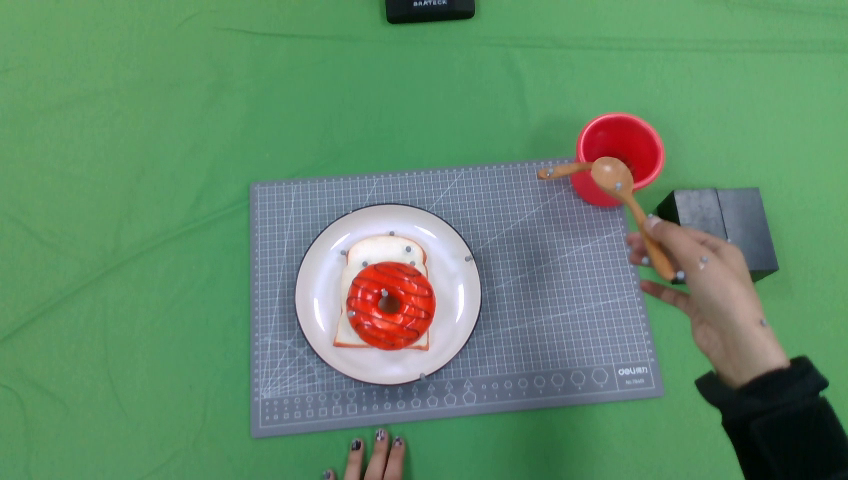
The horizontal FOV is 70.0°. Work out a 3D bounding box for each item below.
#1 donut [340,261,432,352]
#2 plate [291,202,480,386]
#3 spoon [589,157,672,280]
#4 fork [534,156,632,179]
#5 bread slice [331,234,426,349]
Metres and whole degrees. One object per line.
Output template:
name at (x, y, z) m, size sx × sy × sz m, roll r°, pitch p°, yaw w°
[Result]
donut at (-0.040, 0.070, 0.647) m, size 0.099 × 0.048 × 0.098 m, roll 1°, pitch 75°, yaw -4°
plate at (-0.042, 0.060, 0.679) m, size 0.209 × 0.038 × 0.208 m, roll 1°, pitch 72°, yaw -1°
spoon at (0.189, -0.027, 0.555) m, size 0.042 × 0.022 × 0.192 m, roll 5°, pitch 32°, yaw -3°
fork at (0.181, -0.080, 0.674) m, size 0.208 × 0.018 × 0.028 m, roll -10°, pitch 65°, yaw -49°
bread slice at (-0.049, 0.056, 0.683) m, size 0.105 × 0.019 × 0.130 m, roll 1°, pitch 73°, yaw -2°
